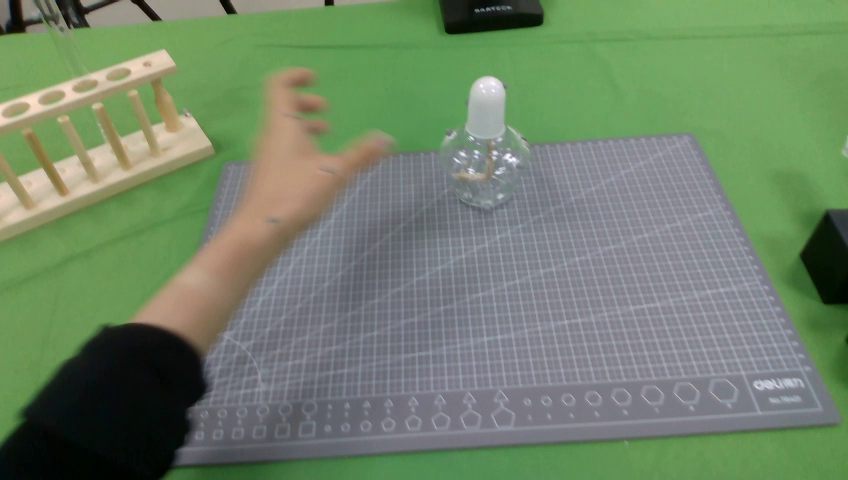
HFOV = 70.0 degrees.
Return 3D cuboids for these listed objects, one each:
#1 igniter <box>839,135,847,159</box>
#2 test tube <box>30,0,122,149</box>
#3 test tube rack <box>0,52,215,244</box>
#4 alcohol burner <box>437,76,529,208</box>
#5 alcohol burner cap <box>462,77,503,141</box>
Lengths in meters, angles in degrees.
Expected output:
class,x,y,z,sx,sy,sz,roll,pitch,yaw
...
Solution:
class,x,y,z,sx,sy,sz,roll,pitch,yaw
igniter,0.342,0.019,0.388,0.057,0.025,0.274,-2,46,6
test tube,-0.303,-0.146,0.532,0.017,0.151,0.017,-5,39,4
test tube rack,-0.326,-0.078,0.543,0.242,0.086,0.066,-28,52,-20
alcohol burner,0.050,-0.084,0.502,0.078,0.120,0.077,-1,49,1
alcohol burner cap,0.048,-0.106,0.479,0.034,0.048,0.033,0,47,0
